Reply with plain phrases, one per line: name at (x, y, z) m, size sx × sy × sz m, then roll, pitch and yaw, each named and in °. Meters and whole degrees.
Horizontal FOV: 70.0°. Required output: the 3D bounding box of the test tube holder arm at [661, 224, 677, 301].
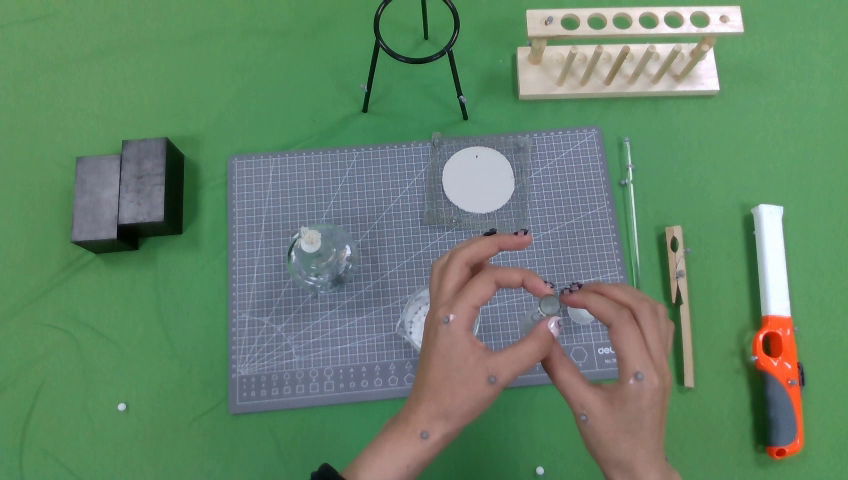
test tube holder arm at (0.281, 0.025, 0.687) m, size 0.010 × 0.015 × 0.087 m, roll -12°, pitch 73°, yaw 35°

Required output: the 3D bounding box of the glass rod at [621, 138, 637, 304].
glass rod at (0.238, -0.025, 0.704) m, size 0.008 × 0.008 × 0.198 m, roll 1°, pitch 78°, yaw 0°

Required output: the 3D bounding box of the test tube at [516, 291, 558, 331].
test tube at (0.088, 0.059, 0.485) m, size 0.017 × 0.151 × 0.017 m, roll -1°, pitch 77°, yaw 3°

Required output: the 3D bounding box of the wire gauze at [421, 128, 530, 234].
wire gauze at (0.062, -0.073, 0.714) m, size 0.125 × 0.011 × 0.121 m, roll 6°, pitch 77°, yaw 1°

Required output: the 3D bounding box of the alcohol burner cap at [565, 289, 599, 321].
alcohol burner cap at (0.174, 0.069, 0.660) m, size 0.034 × 0.048 × 0.033 m, roll 0°, pitch 75°, yaw 1°

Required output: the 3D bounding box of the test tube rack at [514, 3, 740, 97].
test tube rack at (0.234, -0.222, 0.716) m, size 0.242 × 0.085 × 0.066 m, roll -1°, pitch 75°, yaw 0°

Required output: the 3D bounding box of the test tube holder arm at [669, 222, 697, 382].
test tube holder arm at (0.287, 0.068, 0.673) m, size 0.013 × 0.015 × 0.177 m, roll -12°, pitch 72°, yaw 35°

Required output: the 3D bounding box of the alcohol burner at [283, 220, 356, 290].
alcohol burner at (-0.113, 0.011, 0.637) m, size 0.078 × 0.120 × 0.077 m, roll -1°, pitch 74°, yaw 2°

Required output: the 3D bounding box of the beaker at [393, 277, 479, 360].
beaker at (0.013, 0.086, 0.626) m, size 0.084 × 0.101 × 0.073 m, roll -13°, pitch 75°, yaw -2°

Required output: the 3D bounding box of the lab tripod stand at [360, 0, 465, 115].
lab tripod stand at (-0.012, -0.208, 0.687) m, size 0.148 × 0.132 × 0.147 m, roll 0°, pitch 77°, yaw 0°

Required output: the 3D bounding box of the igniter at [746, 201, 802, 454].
igniter at (0.382, 0.091, 0.665) m, size 0.057 × 0.025 × 0.275 m, roll 6°, pitch 75°, yaw -9°
